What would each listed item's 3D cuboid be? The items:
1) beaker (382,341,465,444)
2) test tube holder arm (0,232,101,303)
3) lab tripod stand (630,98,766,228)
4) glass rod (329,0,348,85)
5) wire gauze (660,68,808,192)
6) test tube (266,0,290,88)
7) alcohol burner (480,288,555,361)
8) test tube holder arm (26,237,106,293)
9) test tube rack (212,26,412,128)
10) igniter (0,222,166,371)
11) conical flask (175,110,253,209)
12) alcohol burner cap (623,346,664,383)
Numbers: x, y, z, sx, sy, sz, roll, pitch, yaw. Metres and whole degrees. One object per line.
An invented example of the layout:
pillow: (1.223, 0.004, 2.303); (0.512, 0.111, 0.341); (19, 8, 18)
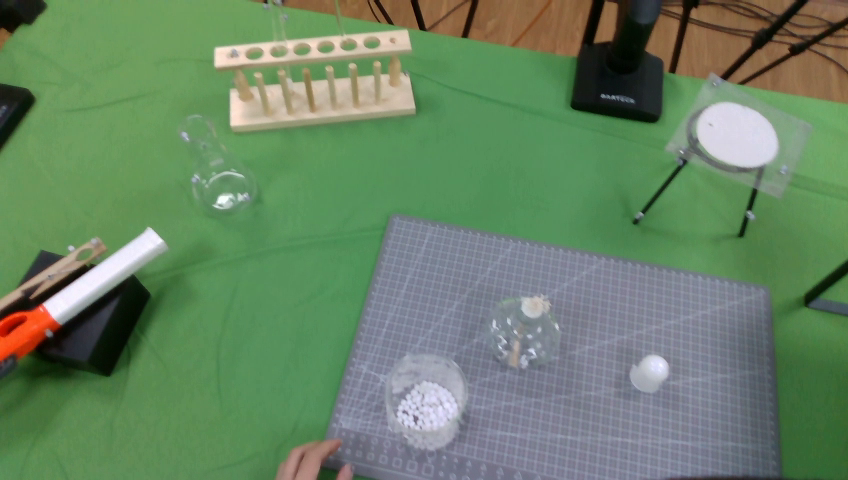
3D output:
beaker: (-0.003, 0.153, 0.579); (0.073, 0.101, 0.084); (39, 68, 20)
test tube holder arm: (-0.413, 0.048, 0.618); (0.178, 0.015, 0.013); (-38, 98, -19)
lab tripod stand: (0.323, -0.085, 0.700); (0.148, 0.132, 0.147); (1, 60, -2)
glass rod: (-0.109, -0.270, 0.745); (0.008, 0.201, 0.008); (-2, 54, 3)
wire gauze: (0.331, -0.118, 0.641); (0.121, 0.011, 0.124); (31, 66, 13)
test tube: (-0.180, -0.245, 0.750); (0.017, 0.151, 0.017); (3, 58, -4)
alcohol burner: (0.098, 0.079, 0.613); (0.078, 0.120, 0.077); (1, 60, -2)
test tube holder arm: (-0.376, 0.026, 0.634); (0.088, 0.015, 0.010); (-37, 98, -19)
test tube rack: (-0.140, -0.211, 0.788); (0.243, 0.086, 0.066); (-7, 61, -5)
igniter: (-0.386, 0.075, 0.605); (0.056, 0.025, 0.276); (37, 65, 28)
conical flask: (-0.249, -0.096, 0.701); (0.075, 0.123, 0.074); (0, 61, 0)
alcohol burner cap: (0.231, 0.127, 0.631); (0.034, 0.048, 0.033); (1, 61, -1)
